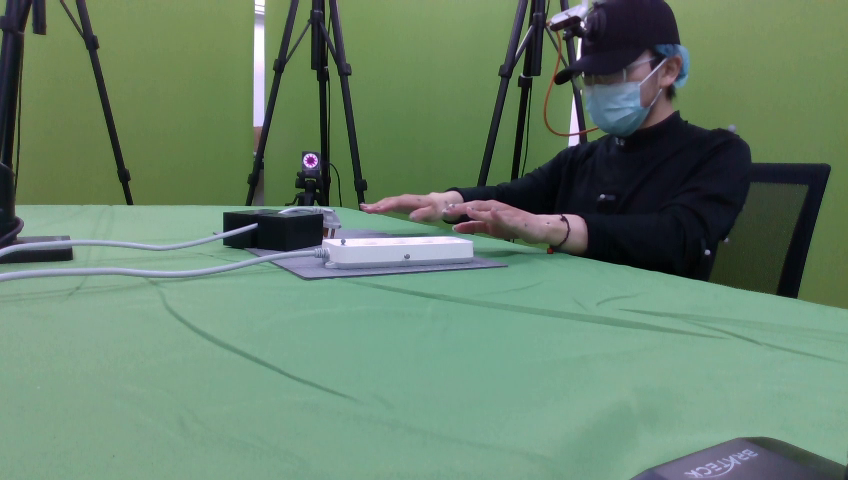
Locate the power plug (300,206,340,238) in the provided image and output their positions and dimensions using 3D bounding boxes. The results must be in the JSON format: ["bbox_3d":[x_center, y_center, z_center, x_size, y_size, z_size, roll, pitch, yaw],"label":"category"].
[{"bbox_3d":[-0.177,-0.030,1.022,0.073,0.052,0.035,6,8,-17],"label":"power plug"}]

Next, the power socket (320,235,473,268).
[{"bbox_3d":[-0.033,0.013,0.823,0.228,0.032,0.072,-2,8,-29],"label":"power socket"}]
